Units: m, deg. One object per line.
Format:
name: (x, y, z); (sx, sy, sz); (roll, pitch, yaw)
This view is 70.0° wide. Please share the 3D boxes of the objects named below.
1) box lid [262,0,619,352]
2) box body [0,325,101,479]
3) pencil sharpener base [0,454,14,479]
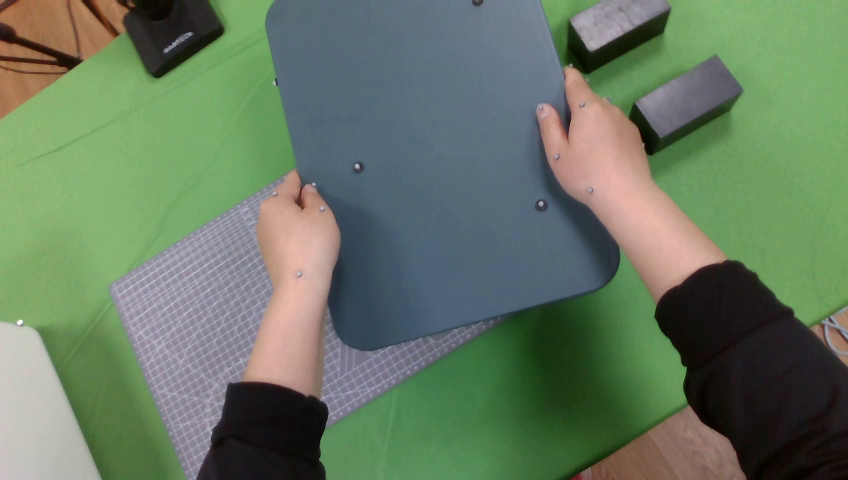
box lid: (0.002, -0.104, 0.559); (0.263, 0.015, 0.369); (-17, 79, 8)
box body: (-0.527, 0.296, 0.676); (0.254, 0.161, 0.361); (-35, 74, 2)
pencil sharpener base: (-0.538, 0.300, 0.699); (0.061, 0.107, 0.076); (-34, 74, 2)
